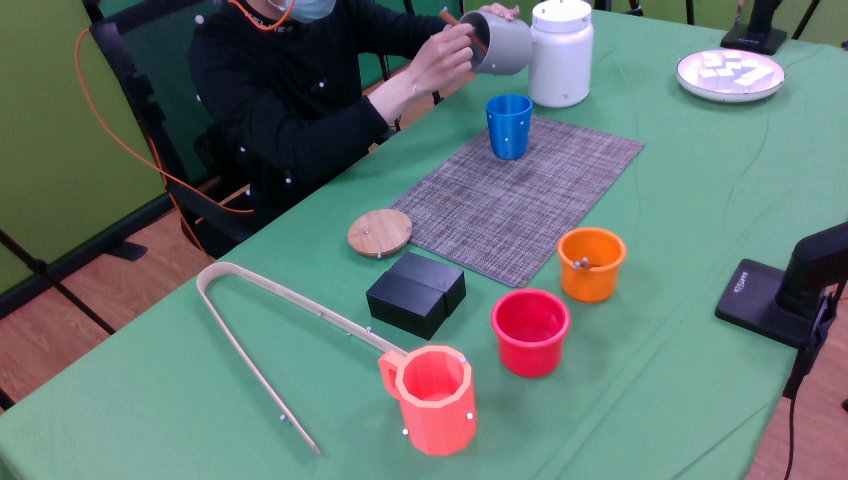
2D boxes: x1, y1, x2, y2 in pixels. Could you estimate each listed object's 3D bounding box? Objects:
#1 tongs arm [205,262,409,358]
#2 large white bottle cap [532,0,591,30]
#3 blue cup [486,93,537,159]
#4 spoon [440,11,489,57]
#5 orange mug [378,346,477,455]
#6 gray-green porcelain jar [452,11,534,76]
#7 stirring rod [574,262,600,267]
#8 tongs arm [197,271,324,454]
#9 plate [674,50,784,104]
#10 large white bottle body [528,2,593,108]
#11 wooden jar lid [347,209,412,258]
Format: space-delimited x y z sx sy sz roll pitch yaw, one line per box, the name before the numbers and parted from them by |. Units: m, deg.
tongs arm | -0.179 0.106 0.870 0.382 0.027 0.051 23 55 32
large white bottle cap | 0.274 -0.450 1.204 0.115 0.018 0.114 -4 41 4
blue cup | 0.160 -0.209 1.129 0.092 0.100 0.092 -4 39 4
spoon | 0.093 -0.363 1.104 0.041 0.195 0.021 -28 52 35
orange mug | 0.002 0.179 0.708 0.125 0.101 0.083 25 50 27
gray-green porcelain jar | 0.134 -0.366 1.137 0.127 0.106 0.105 -7 33 -39
stirring rod | 0.222 0.033 0.816 0.014 0.006 0.177 8 1 22
tongs arm | -0.236 0.155 0.831 0.028 0.028 0.384 -37 48 -17
plate | 0.631 -0.336 1.262 0.207 0.039 0.206 -4 41 4
large white bottle body | 0.282 -0.386 1.259 0.130 0.185 0.130 -5 41 4
wooden jar lid | -0.071 -0.010 0.997 0.108 0.021 0.108 -5 44 5
